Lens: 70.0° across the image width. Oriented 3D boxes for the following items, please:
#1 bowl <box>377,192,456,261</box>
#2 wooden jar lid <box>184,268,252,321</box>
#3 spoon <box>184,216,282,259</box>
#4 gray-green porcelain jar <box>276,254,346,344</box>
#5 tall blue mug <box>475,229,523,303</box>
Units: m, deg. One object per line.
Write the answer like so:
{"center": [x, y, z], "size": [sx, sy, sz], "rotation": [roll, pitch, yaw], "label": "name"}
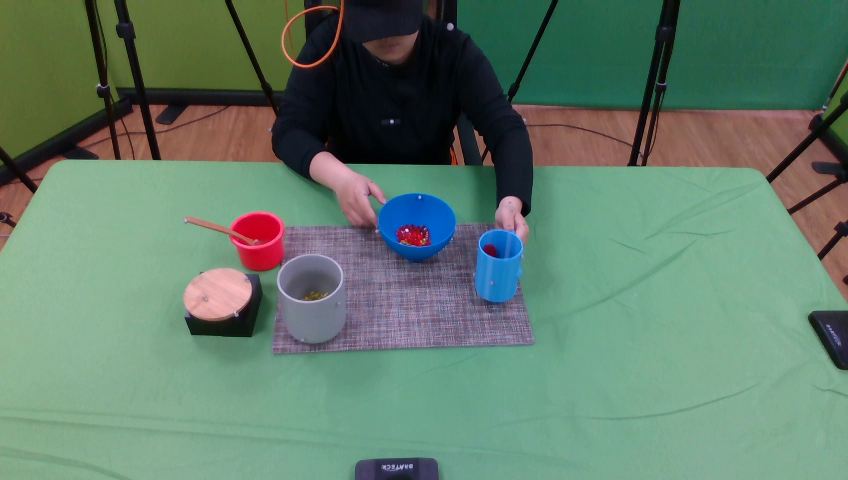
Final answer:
{"center": [-0.015, -0.013, 1.166], "size": [0.151, 0.077, 0.150], "rotation": [2, 46, -2], "label": "bowl"}
{"center": [-0.343, 0.093, 1.015], "size": [0.108, 0.021, 0.107], "rotation": [3, 46, -3], "label": "wooden jar lid"}
{"center": [-0.341, -0.008, 1.096], "size": [0.021, 0.195, 0.041], "rotation": [-36, 47, 25], "label": "spoon"}
{"center": [-0.184, 0.102, 1.008], "size": [0.106, 0.127, 0.105], "rotation": [2, 46, -2], "label": "gray-green porcelain jar"}
{"center": [0.131, 0.036, 1.073], "size": [0.078, 0.108, 0.106], "rotation": [-2, 44, -2], "label": "tall blue mug"}
